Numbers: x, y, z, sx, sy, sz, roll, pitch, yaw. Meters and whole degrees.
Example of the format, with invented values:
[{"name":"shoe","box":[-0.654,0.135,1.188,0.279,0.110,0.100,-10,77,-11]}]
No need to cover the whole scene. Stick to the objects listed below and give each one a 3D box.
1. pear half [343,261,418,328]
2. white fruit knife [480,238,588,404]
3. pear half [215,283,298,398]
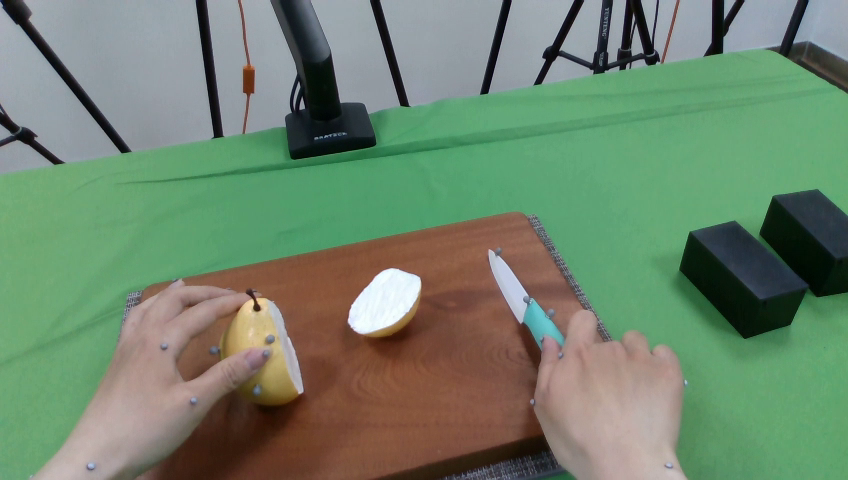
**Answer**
[{"name":"pear half","box":[-0.035,0.052,0.538,0.070,0.031,0.087,-15,25,10]},{"name":"white fruit knife","box":[0.088,0.056,0.527,0.016,0.027,0.205,22,24,-32]},{"name":"pear half","box":[-0.134,0.075,0.463,0.056,0.111,0.075,-17,41,-15]}]
